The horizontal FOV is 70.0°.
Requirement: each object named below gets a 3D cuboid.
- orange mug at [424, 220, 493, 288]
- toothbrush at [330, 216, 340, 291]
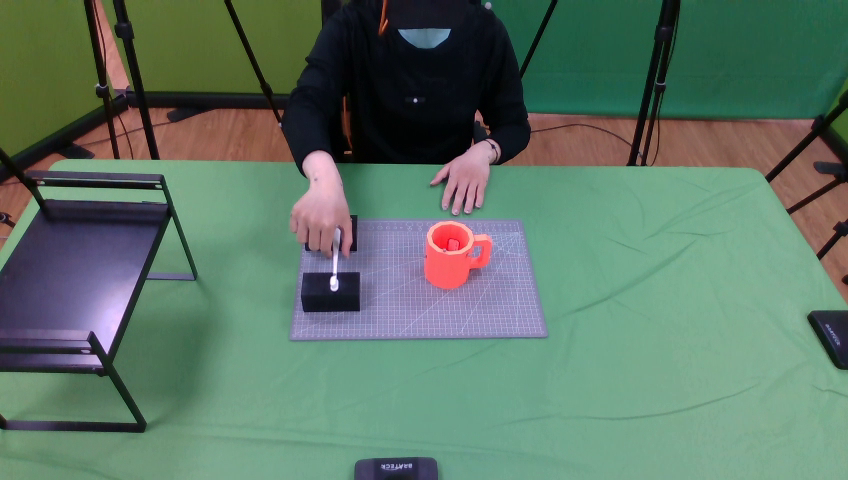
[{"bbox_3d":[0.064,0.023,1.119,0.126,0.101,0.083,-9,47,-7],"label":"orange mug"},{"bbox_3d":[-0.161,0.019,1.094,0.014,0.017,0.180,-11,45,5],"label":"toothbrush"}]
